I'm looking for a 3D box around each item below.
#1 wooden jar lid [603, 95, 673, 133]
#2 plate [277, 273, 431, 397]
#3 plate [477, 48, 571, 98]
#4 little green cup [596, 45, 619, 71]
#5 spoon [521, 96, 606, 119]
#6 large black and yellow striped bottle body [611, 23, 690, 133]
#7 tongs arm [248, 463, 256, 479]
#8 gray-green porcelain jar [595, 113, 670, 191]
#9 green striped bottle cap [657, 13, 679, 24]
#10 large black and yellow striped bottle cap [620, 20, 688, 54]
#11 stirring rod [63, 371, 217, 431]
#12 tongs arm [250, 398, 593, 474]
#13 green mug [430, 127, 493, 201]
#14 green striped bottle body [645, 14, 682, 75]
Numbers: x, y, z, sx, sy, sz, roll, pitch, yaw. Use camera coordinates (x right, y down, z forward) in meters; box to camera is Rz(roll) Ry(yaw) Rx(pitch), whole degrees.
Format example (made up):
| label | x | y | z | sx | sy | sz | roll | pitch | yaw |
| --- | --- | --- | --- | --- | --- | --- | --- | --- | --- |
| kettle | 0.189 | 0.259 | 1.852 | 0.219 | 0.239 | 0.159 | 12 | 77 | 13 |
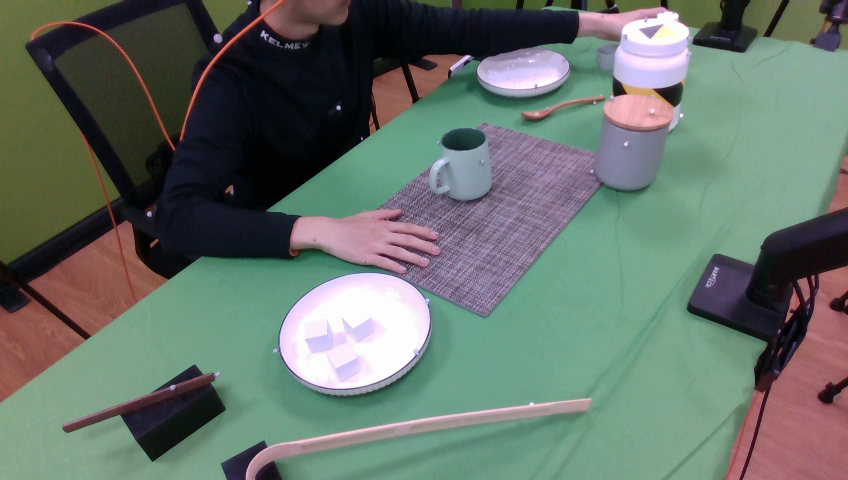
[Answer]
| label | x | y | z | sx | sy | sz | roll | pitch | yaw |
| --- | --- | --- | --- | --- | --- | --- | --- | --- | --- |
| wooden jar lid | 0.343 | -0.200 | 0.974 | 0.108 | 0.021 | 0.108 | -2 | 39 | 2 |
| plate | -0.092 | 0.129 | 0.821 | 0.207 | 0.039 | 0.206 | -4 | 40 | 4 |
| plate | 0.223 | -0.371 | 1.357 | 0.209 | 0.038 | 0.208 | -4 | 41 | 4 |
| little green cup | 0.421 | -0.413 | 1.373 | 0.061 | 0.039 | 0.061 | -1 | 39 | 1 |
| spoon | 0.291 | -0.277 | 1.249 | 0.194 | 0.022 | 0.041 | -18 | 22 | -11 |
| large black and yellow striped bottle body | 0.420 | -0.299 | 1.132 | 0.131 | 0.185 | 0.130 | -5 | 40 | 4 |
| tongs arm | 0.012 | 0.262 | 0.615 | 0.385 | 0.026 | 0.050 | 2 | 42 | -2 |
| gray-green porcelain jar | 0.346 | -0.155 | 1.017 | 0.106 | 0.127 | 0.105 | -2 | 44 | 2 |
| green striped bottle cap | 0.516 | -0.463 | 1.278 | 0.044 | 0.020 | 0.044 | -6 | 42 | 6 |
| large black and yellow striped bottle cap | 0.411 | -0.363 | 1.080 | 0.115 | 0.019 | 0.114 | -4 | 42 | 4 |
| stirring rod | -0.337 | 0.192 | 0.723 | 0.177 | 0.014 | 0.005 | -18 | 43 | -12 |
| tongs arm | 0.008 | 0.212 | 0.675 | 0.389 | 0.028 | 0.028 | -5 | 46 | -11 |
| green mug | 0.059 | -0.121 | 1.034 | 0.126 | 0.105 | 0.091 | -35 | 48 | -28 |
| green striped bottle body | 0.520 | -0.426 | 1.312 | 0.063 | 0.120 | 0.063 | -3 | 41 | 3 |
